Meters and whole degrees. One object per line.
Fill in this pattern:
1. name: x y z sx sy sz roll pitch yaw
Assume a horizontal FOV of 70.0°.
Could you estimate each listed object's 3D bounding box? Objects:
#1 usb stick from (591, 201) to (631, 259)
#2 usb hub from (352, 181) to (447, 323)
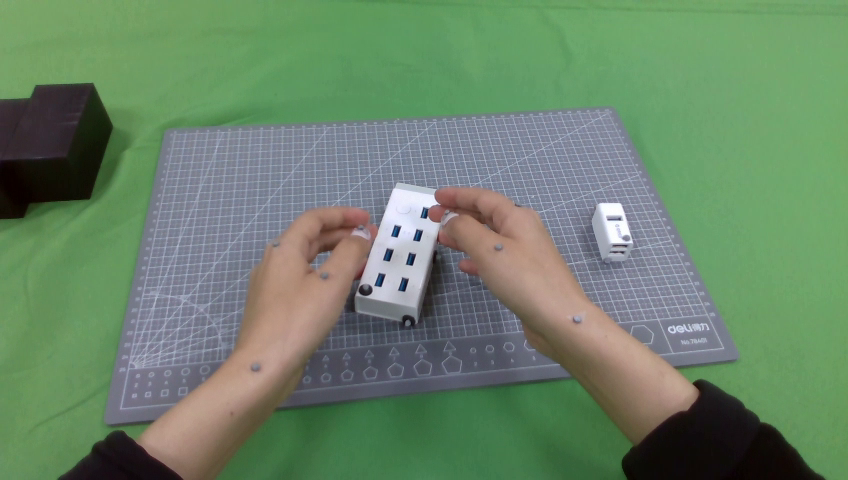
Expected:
1. usb stick: 0.156 -0.014 0.511 0.021 0.027 0.058 -1 48 -1
2. usb hub: -0.017 0.005 0.488 0.049 0.025 0.124 11 51 7
